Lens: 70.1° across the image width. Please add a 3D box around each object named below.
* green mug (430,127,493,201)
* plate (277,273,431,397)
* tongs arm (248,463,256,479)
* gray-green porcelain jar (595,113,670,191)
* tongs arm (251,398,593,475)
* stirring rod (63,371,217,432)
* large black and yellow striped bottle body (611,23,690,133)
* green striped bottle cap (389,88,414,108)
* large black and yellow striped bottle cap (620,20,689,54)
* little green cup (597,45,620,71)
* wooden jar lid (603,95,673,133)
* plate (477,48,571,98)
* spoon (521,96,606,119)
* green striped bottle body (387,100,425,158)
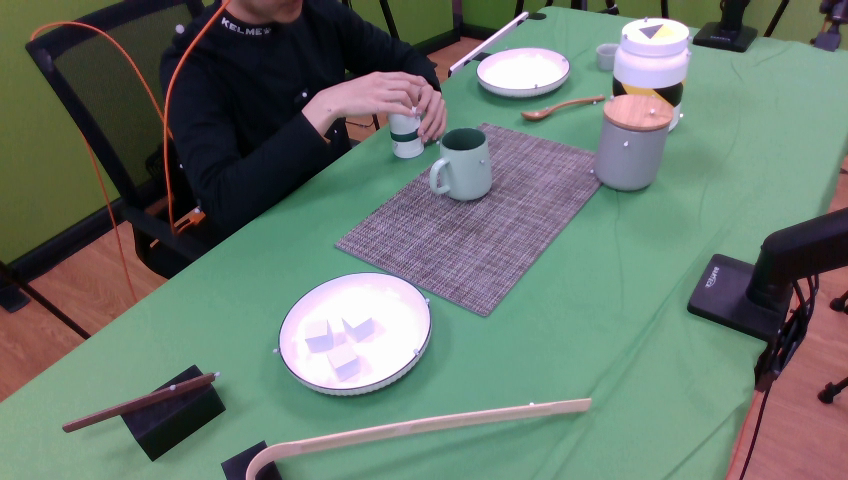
[{"bbox_3d":[0.059,-0.122,1.034,0.126,0.105,0.091,-35,48,-28],"label":"green mug"},{"bbox_3d":[-0.091,0.129,0.821,0.207,0.039,0.206,-4,40,4],"label":"plate"},{"bbox_3d":[0.012,0.262,0.615,0.385,0.026,0.050,2,42,-2],"label":"tongs arm"},{"bbox_3d":[0.346,-0.155,1.017,0.106,0.127,0.105,-2,44,2],"label":"gray-green porcelain jar"},{"bbox_3d":[0.008,0.212,0.675,0.389,0.028,0.028,-5,46,-11],"label":"tongs arm"},{"bbox_3d":[-0.337,0.192,0.723,0.177,0.014,0.005,-18,42,-12],"label":"stirring rod"},{"bbox_3d":[0.420,-0.299,1.132,0.131,0.185,0.130,-5,40,4],"label":"large black and yellow striped bottle body"},{"bbox_3d":[-0.042,-0.265,1.125,0.044,0.020,0.044,-5,41,5],"label":"green striped bottle cap"},{"bbox_3d":[0.411,-0.363,1.079,0.115,0.019,0.114,-4,42,4],"label":"large black and yellow striped bottle cap"},{"bbox_3d":[0.423,-0.413,1.376,0.061,0.039,0.061,-4,41,4],"label":"little green cup"},{"bbox_3d":[0.343,-0.200,0.974,0.108,0.021,0.108,-2,39,2],"label":"wooden jar lid"},{"bbox_3d":[0.223,-0.371,1.357,0.209,0.038,0.208,-4,41,4],"label":"plate"},{"bbox_3d":[0.291,-0.277,1.249,0.194,0.022,0.041,-18,22,-11],"label":"spoon"},{"bbox_3d":[-0.035,-0.223,1.160,0.063,0.120,0.063,-5,39,4],"label":"green striped bottle body"}]
